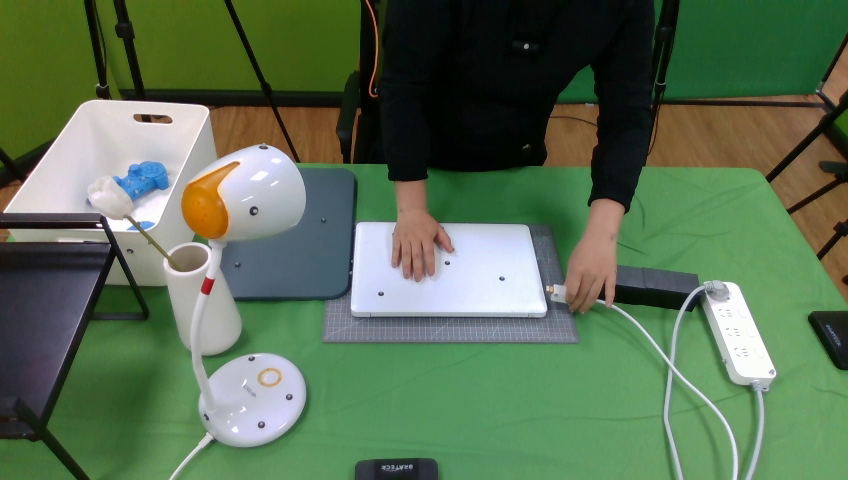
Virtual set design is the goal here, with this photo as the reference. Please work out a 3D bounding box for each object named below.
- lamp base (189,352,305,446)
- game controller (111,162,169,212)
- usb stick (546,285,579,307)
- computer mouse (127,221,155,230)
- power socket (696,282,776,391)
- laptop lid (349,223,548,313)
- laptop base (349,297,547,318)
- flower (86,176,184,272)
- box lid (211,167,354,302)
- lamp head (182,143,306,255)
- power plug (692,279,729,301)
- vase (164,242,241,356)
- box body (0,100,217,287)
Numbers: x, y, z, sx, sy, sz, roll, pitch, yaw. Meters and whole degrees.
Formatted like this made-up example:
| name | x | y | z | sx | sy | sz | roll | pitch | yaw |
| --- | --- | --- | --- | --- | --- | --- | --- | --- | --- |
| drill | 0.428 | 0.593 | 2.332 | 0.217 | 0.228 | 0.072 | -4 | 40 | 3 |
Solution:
| name | x | y | z | sx | sy | sz | roll | pitch | yaw |
| --- | --- | --- | --- | --- | --- | --- | --- | --- | --- |
| lamp base | -0.268 | 0.197 | 0.876 | 0.160 | 0.181 | 0.179 | 26 | 52 | 20 |
| game controller | -0.597 | -0.113 | 1.234 | 0.097 | 0.052 | 0.155 | 29 | 52 | 20 |
| usb stick | 0.246 | 0.098 | 1.091 | 0.059 | 0.027 | 0.021 | 17 | 39 | 0 |
| computer mouse | -0.537 | 0.009 | 1.127 | 0.062 | 0.041 | 0.117 | 31 | 55 | 21 |
| power socket | 0.550 | 0.161 | 1.078 | 0.072 | 0.033 | 0.225 | 2 | 46 | -2 |
| laptop lid | 0.042 | 0.047 | 1.143 | 0.357 | 0.013 | 0.240 | 2 | 43 | -3 |
| laptop base | 0.041 | 0.056 | 1.148 | 0.355 | 0.023 | 0.234 | 1 | 42 | -4 |
| flower | -0.365 | 0.038 | 0.894 | 0.038 | 0.364 | 0.044 | -4 | 53 | 15 |
| box lid | -0.276 | -0.023 | 1.205 | 0.263 | 0.015 | 0.369 | 0 | 46 | -3 |
| lamp head | -0.215 | -0.043 | 0.696 | 0.112 | 0.113 | 0.123 | 23 | 31 | 17 |
| power plug | 0.522 | 0.091 | 1.116 | 0.072 | 0.053 | 0.035 | 11 | 48 | 8 |
| vase | -0.349 | 0.096 | 0.953 | 0.098 | 0.201 | 0.097 | 3 | 47 | -3 |
| box body | -0.559 | -0.092 | 1.144 | 0.254 | 0.161 | 0.361 | 3 | 46 | -2 |
